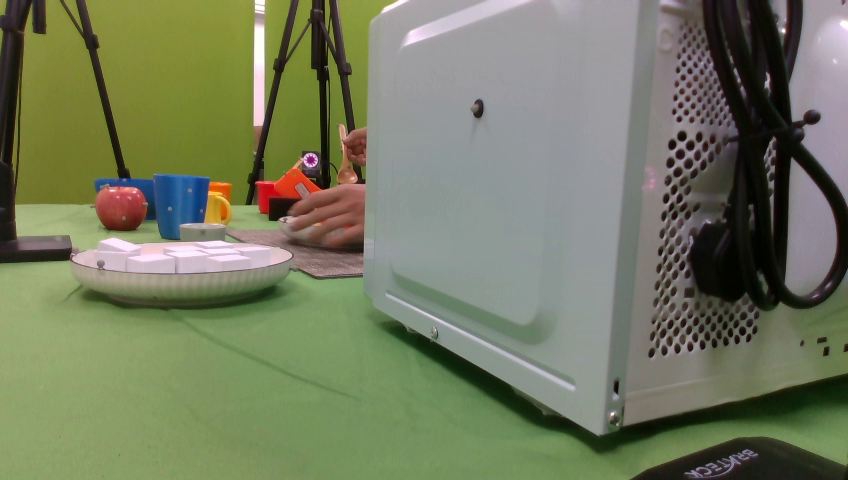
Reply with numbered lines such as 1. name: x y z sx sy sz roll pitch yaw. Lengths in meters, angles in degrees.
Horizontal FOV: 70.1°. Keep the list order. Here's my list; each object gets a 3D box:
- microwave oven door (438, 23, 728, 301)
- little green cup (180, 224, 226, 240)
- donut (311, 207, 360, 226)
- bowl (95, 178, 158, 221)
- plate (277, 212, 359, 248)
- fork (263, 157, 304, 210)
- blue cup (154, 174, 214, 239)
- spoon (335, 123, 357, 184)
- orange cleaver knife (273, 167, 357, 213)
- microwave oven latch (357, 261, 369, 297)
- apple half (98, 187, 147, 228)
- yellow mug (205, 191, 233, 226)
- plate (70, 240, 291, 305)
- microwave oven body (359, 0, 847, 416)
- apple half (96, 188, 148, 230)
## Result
1. microwave oven door: 0.181 -0.072 0.620 0.358 0.243 0.039 -2 8 -29
2. little green cup: -0.309 -0.001 0.846 0.061 0.038 0.061 2 8 0
3. donut: -0.137 -0.029 0.995 0.099 0.048 0.099 4 9 0
4. bowl: -0.576 -0.081 1.217 0.151 0.077 0.151 3 8 0
5. plate: -0.135 -0.017 0.992 0.209 0.038 0.209 3 8 0
6. fork: -0.345 -0.143 1.505 0.028 0.019 0.207 -4 46 28
7. blue cup: -0.391 -0.054 0.978 0.093 0.100 0.092 4 6 0
8. spoon: -0.163 -0.180 1.235 0.042 0.021 0.193 -3 52 -9
9. orange cleaver knife: -0.238 -0.091 1.381 0.212 0.077 0.012 31 0 -19
10. microwave oven latch: -0.019 0.033 0.531 0.079 0.029 0.030 -1 7 -27
11. apple half: -0.534 -0.059 1.071 0.082 0.081 0.032 -1 10 -25
12. yellow mug: -0.415 -0.057 1.131 0.130 0.064 0.100 5 7 16
13. plate: -0.242 0.031 0.618 0.208 0.039 0.207 2 7 0
14. microwave oven body: 0.211 -0.047 0.474 0.444 0.260 0.324 -1 7 -28
15. apple half: -0.517 -0.052 1.036 0.081 0.074 0.053 2 10 -26
